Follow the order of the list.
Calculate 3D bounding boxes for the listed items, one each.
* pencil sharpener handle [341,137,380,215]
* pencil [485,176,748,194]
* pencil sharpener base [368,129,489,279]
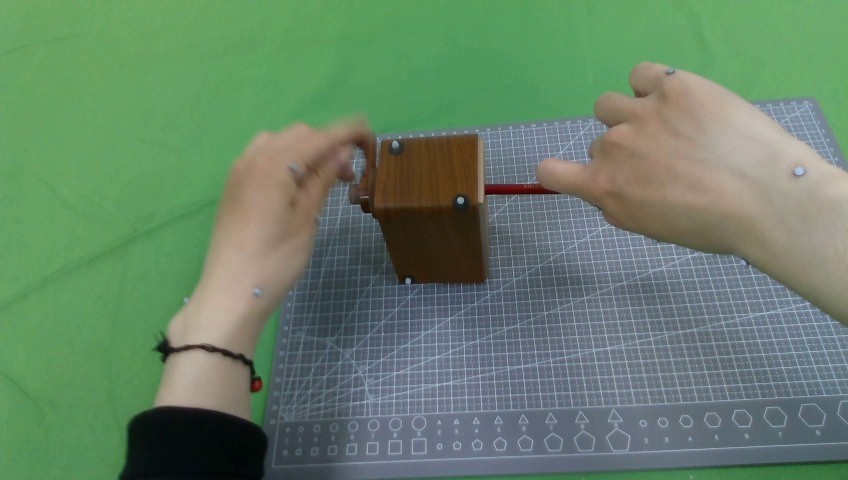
[{"bbox_3d":[-0.046,-0.046,0.424,0.030,0.036,0.067,-2,51,7],"label":"pencil sharpener handle"},{"bbox_3d":[0.112,-0.036,0.399,0.194,0.012,0.012,0,58,4],"label":"pencil"},{"bbox_3d":[0.007,-0.021,0.432,0.076,0.108,0.061,-2,58,7],"label":"pencil sharpener base"}]
